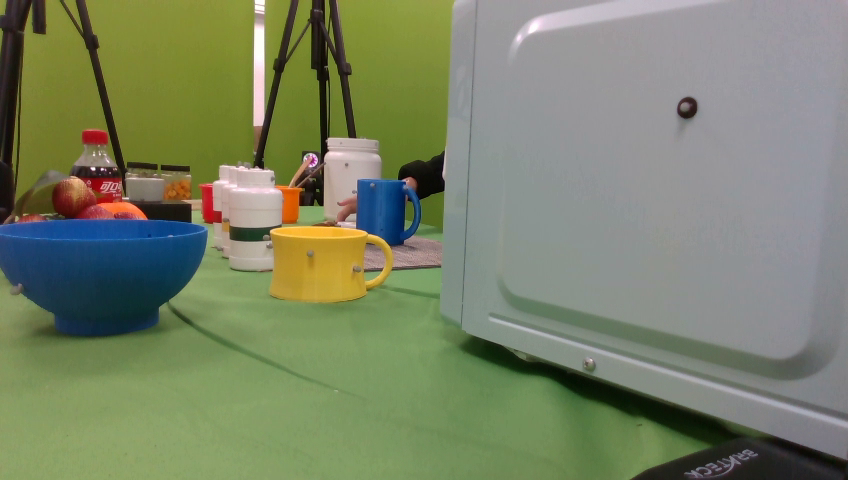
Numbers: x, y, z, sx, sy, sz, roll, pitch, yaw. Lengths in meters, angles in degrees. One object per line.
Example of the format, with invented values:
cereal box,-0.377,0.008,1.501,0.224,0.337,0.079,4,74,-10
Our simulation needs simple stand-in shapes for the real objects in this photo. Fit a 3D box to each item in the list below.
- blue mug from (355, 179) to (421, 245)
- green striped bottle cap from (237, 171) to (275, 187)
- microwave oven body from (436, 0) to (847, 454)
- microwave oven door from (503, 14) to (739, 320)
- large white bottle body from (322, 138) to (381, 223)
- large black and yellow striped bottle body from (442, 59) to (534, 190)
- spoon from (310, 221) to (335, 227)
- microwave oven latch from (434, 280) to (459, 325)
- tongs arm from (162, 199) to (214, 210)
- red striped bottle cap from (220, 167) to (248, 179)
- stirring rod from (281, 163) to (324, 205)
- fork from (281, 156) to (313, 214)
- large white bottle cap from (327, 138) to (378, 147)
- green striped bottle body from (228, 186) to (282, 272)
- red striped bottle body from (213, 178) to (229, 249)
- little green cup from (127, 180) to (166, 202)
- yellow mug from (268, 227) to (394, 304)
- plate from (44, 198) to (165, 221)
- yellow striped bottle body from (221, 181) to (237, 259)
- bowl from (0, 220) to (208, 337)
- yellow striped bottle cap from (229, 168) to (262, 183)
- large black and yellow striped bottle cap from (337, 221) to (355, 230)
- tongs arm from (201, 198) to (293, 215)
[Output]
blue mug,-0.058,-0.047,1.004,0.116,0.106,0.082,6,9,24
green striped bottle cap,-0.205,-0.074,0.738,0.044,0.020,0.044,1,9,0
microwave oven body,0.279,-0.040,0.464,0.444,0.260,0.324,-3,9,-41
microwave oven door,0.218,-0.065,0.600,0.358,0.243,0.039,-4,10,-41
large white bottle body,-0.163,-0.135,1.368,0.131,0.184,0.130,2,7,0
large black and yellow striped bottle body,0.101,-0.175,0.937,0.131,0.184,0.131,6,2,0
spoon,-0.185,-0.027,1.131,0.041,0.021,0.193,-16,6,2
microwave oven latch,0.044,0.045,0.470,0.079,0.029,0.030,-2,8,-39
tongs arm,-0.504,-0.091,1.513,0.028,0.028,0.389,0,4,37
red striped bottle cap,-0.281,-0.100,0.901,0.044,0.017,0.044,-1,4,0
stirring rod,-0.278,-0.105,1.293,0.176,0.006,0.014,-47,24,-18
fork,-0.289,-0.116,1.320,0.028,0.019,0.207,-2,48,27
large white bottle cap,-0.160,-0.218,1.357,0.115,0.018,0.115,2,8,0
green striped bottle body,-0.208,-0.023,0.745,0.063,0.119,0.063,2,7,0
red striped bottle body,-0.283,-0.047,0.908,0.063,0.119,0.063,2,8,0
little green cup,-0.486,-0.087,1.062,0.061,0.038,0.061,0,7,0
yellow mug,-0.094,0.023,0.630,0.131,0.064,0.099,0,7,-22
plate,-0.617,-0.056,1.179,0.209,0.038,0.209,3,7,0
yellow striped bottle body,-0.244,-0.035,0.823,0.063,0.120,0.063,2,8,0
bowl,-0.251,0.029,0.479,0.151,0.077,0.151,2,7,0
yellow striped bottle cap,-0.240,-0.087,0.816,0.044,0.018,0.044,-2,5,1
large black and yellow striped bottle cap,-0.108,-0.023,1.149,0.115,0.019,0.115,1,7,0
tongs arm,-0.423,-0.084,1.472,0.050,0.026,0.386,2,6,21
